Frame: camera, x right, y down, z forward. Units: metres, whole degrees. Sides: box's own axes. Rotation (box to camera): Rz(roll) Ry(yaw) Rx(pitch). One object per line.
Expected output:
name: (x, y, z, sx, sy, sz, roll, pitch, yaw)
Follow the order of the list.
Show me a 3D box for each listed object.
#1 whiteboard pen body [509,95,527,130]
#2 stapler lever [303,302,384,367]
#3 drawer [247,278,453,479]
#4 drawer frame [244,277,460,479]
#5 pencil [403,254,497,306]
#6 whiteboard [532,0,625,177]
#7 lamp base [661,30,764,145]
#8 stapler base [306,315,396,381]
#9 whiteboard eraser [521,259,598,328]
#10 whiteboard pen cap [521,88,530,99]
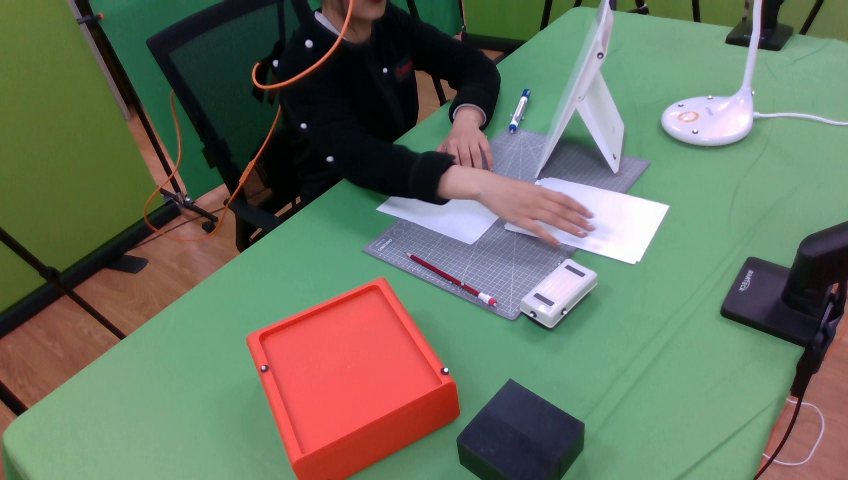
whiteboard pen body: (0.199, -0.272, 1.262, 0.017, 0.017, 0.140, 8, 44, 19)
stapler lever: (-0.108, 0.123, 0.805, 0.118, 0.040, 0.026, -27, 36, -15)
drawer: (-0.096, 0.167, 0.758, 0.195, 0.073, 0.210, -22, 43, -16)
drawer frame: (-0.093, 0.167, 0.755, 0.202, 0.083, 0.211, -23, 43, -17)
pencil: (0.034, 0.057, 0.914, 0.192, 0.012, 0.012, 27, 52, 38)
whiteboard: (0.321, -0.258, 1.050, 0.144, 0.306, 0.217, 21, 45, 5)
lamp base: (0.535, -0.287, 1.096, 0.179, 0.181, 0.159, -10, 40, -4)
stapler base: (-0.101, 0.139, 0.819, 0.131, 0.024, 0.041, -31, 37, -13)
whiteboard eraser: (0.189, 0.076, 0.843, 0.055, 0.042, 0.113, 28, 53, 37)
whiteboard pen cap: (0.218, -0.312, 1.301, 0.018, 0.018, 0.033, 6, 46, 18)
